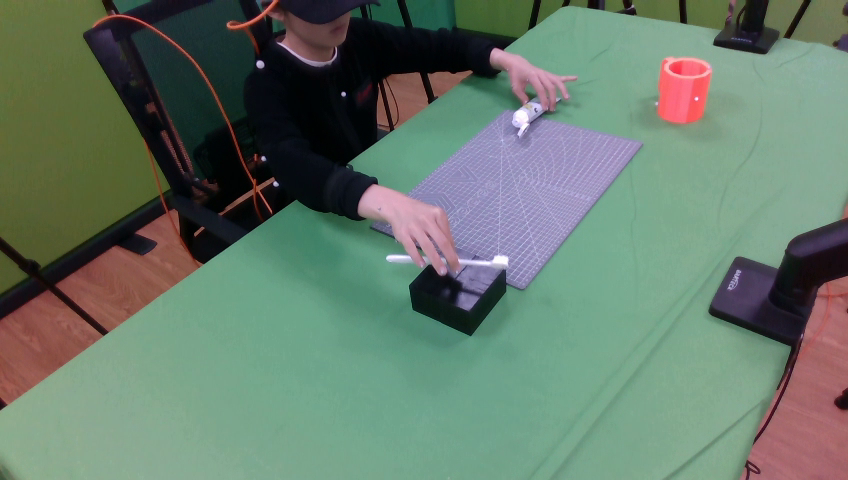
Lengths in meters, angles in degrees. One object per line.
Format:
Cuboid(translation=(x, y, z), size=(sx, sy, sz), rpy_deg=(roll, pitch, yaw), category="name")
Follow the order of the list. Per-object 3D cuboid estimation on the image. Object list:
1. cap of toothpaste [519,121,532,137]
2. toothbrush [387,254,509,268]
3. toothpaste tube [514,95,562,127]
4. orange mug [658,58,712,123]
Cuboid(translation=(0.197, -0.218, 1.185), size=(0.011, 0.037, 0.037), rpy_deg=(36, 52, 8), category="cap of toothpaste")
Cuboid(translation=(0.031, 0.027, 0.841), size=(0.181, 0.014, 0.016), rpy_deg=(1, 56, 23), category="toothbrush")
Cuboid(translation=(0.232, -0.272, 1.250), size=(0.054, 0.034, 0.165), rpy_deg=(20, 40, 25), category="toothpaste tube")
Cuboid(translation=(0.504, -0.304, 1.193), size=(0.083, 0.101, 0.125), rpy_deg=(-13, 45, -5), category="orange mug")
